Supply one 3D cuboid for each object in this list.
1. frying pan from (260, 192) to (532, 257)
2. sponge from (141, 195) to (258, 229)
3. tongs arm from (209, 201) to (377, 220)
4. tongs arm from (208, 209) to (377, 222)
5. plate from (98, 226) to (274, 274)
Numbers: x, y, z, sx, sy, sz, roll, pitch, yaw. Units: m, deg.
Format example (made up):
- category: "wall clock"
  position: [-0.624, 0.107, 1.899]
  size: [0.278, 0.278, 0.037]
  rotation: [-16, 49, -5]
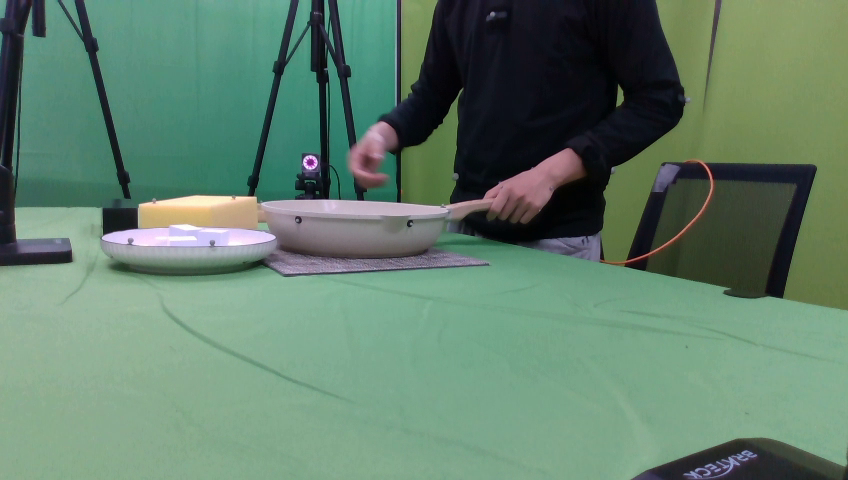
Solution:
- category: "frying pan"
  position: [-0.017, -0.043, 1.006]
  size: [0.490, 0.102, 0.305]
  rotation: [-11, 13, -26]
- category: "sponge"
  position: [-0.380, -0.040, 1.047]
  size: [0.118, 0.061, 0.207]
  rotation: [1, 8, 3]
- category: "tongs arm"
  position: [-0.306, -0.070, 1.430]
  size: [0.386, 0.026, 0.050]
  rotation: [2, 8, -15]
- category: "tongs arm"
  position: [-0.280, -0.056, 1.355]
  size: [0.389, 0.028, 0.028]
  rotation: [-1, 6, -28]
- category: "plate"
  position: [-0.301, 0.012, 0.778]
  size: [0.208, 0.039, 0.207]
  rotation: [3, 7, 0]
